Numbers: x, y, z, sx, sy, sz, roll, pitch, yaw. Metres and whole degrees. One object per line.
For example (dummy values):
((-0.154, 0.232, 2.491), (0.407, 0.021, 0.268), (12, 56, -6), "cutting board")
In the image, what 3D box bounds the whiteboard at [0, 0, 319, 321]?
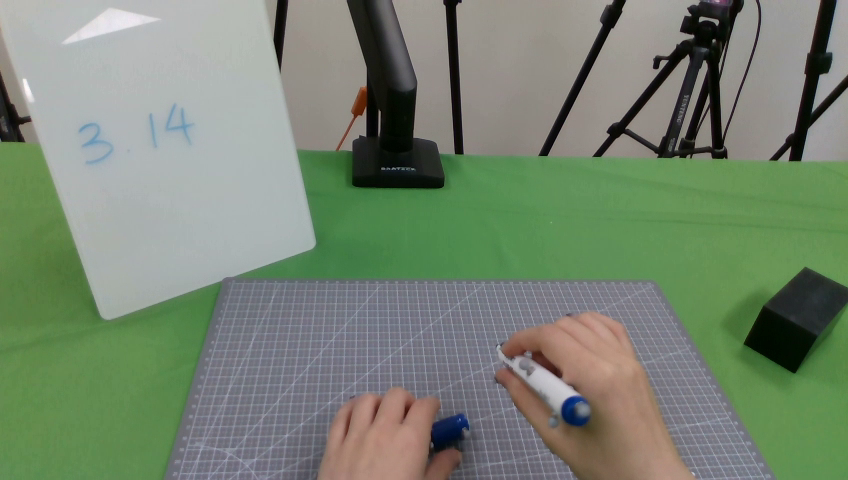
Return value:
((-0.259, -0.115, 0.599), (0.218, 0.307, 0.142), (-21, 24, -31), "whiteboard")

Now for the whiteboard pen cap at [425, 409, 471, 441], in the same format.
((0.019, 0.142, 0.465), (0.033, 0.018, 0.018), (-9, 38, -27), "whiteboard pen cap")

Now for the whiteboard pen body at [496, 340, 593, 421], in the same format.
((0.067, 0.079, 0.371), (0.017, 0.017, 0.140), (-2, 5, -10), "whiteboard pen body")
